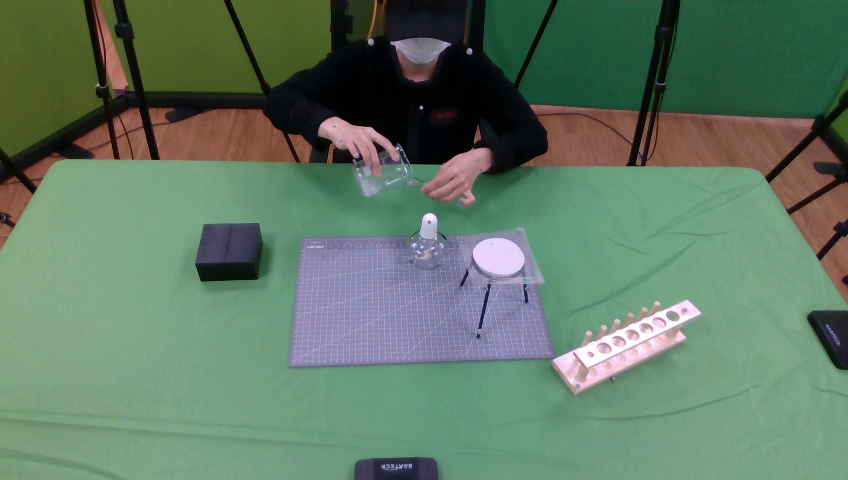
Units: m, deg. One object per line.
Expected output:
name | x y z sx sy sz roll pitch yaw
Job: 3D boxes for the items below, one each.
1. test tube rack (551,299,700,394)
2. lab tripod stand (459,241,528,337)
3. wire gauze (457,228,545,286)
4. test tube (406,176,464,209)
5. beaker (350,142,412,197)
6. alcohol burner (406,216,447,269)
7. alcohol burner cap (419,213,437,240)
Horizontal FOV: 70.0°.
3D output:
test tube rack | 0.339 0.166 1.021 0.242 0.085 0.066 -19 50 -21
lab tripod stand | 0.122 0.075 1.054 0.148 0.132 0.147 3 44 -3
wire gauze | 0.126 0.029 1.006 0.125 0.011 0.120 -4 46 -10
test tube | 0.024 -0.094 1.216 0.151 0.017 0.017 23 34 -36
beaker | -0.081 -0.128 1.142 0.100 0.084 0.073 -24 42 -7
alcohol burner | 0.006 -0.003 1.134 0.078 0.120 0.077 2 48 -2
alcohol burner cap | 0.009 -0.027 1.109 0.034 0.048 0.033 3 44 -3
